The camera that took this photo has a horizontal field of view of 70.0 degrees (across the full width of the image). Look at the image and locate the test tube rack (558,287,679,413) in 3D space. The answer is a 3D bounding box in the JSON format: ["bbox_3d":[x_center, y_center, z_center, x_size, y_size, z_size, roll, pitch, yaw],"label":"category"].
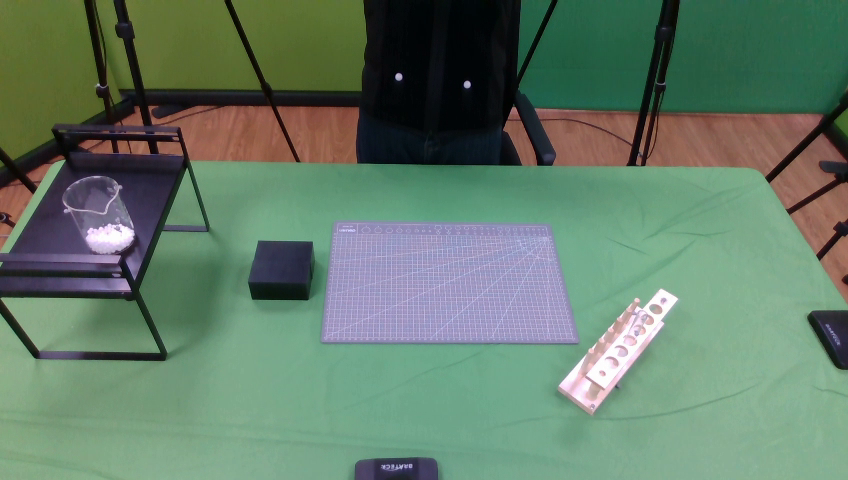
[{"bbox_3d":[0.326,0.170,1.009,0.066,0.085,0.242,35,54,26],"label":"test tube rack"}]

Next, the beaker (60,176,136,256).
[{"bbox_3d":[-0.470,-0.031,0.888,0.074,0.101,0.083,-31,56,-28],"label":"beaker"}]

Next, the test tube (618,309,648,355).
[{"bbox_3d":[0.327,0.154,0.955,0.017,0.151,0.017,-1,51,1],"label":"test tube"}]
